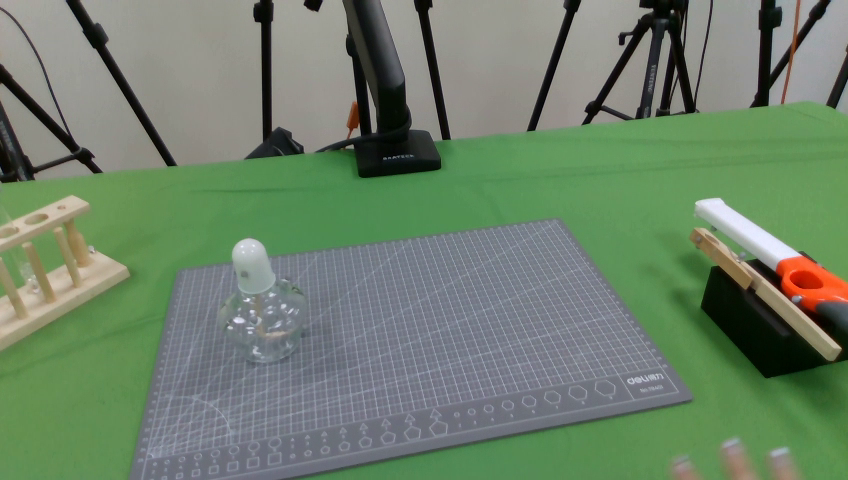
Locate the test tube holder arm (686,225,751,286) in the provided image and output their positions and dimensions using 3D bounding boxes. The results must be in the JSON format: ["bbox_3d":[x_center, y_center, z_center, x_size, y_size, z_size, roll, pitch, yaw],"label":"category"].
[{"bbox_3d":[0.280,0.014,0.573,0.010,0.015,0.087,-8,34,-14],"label":"test tube holder arm"}]

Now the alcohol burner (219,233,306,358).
[{"bbox_3d":[-0.146,0.046,0.541,0.078,0.120,0.077,-1,32,1],"label":"alcohol burner"}]

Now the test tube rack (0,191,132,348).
[{"bbox_3d":[-0.420,0.049,0.581,0.066,0.086,0.242,20,40,29],"label":"test tube rack"}]

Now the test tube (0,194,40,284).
[{"bbox_3d":[-0.407,-0.017,0.588,0.017,0.151,0.017,-1,37,1],"label":"test tube"}]

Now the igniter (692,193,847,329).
[{"bbox_3d":[0.337,0.024,0.549,0.057,0.025,0.273,-9,32,-10],"label":"igniter"}]

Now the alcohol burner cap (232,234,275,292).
[{"bbox_3d":[-0.149,0.017,0.521,0.034,0.048,0.033,-2,39,2],"label":"alcohol burner cap"}]

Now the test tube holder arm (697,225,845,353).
[{"bbox_3d":[0.298,0.036,0.539,0.013,0.015,0.176,-9,34,-15],"label":"test tube holder arm"}]
